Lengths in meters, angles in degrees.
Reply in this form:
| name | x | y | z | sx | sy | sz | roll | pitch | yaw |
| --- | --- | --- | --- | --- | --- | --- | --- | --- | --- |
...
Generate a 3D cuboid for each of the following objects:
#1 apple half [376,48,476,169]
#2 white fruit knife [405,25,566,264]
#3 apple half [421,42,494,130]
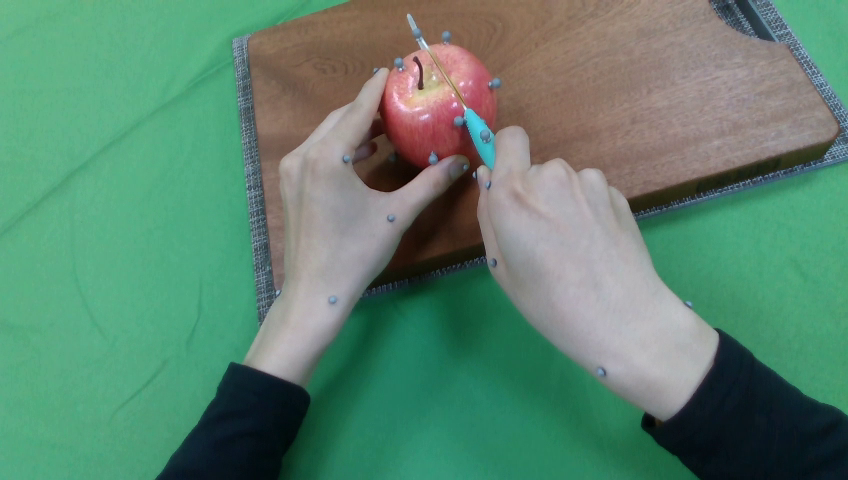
| name | x | y | z | sx | sy | sz | roll | pitch | yaw |
| --- | --- | --- | --- | --- | --- | --- | --- | --- | --- |
| apple half | -0.004 | -0.084 | 0.422 | 0.053 | 0.075 | 0.080 | -31 | 65 | 1 |
| white fruit knife | 0.031 | -0.072 | 0.385 | 0.016 | 0.028 | 0.205 | -30 | 63 | 2 |
| apple half | 0.030 | -0.103 | 0.422 | 0.033 | 0.082 | 0.080 | -29 | 62 | -1 |
